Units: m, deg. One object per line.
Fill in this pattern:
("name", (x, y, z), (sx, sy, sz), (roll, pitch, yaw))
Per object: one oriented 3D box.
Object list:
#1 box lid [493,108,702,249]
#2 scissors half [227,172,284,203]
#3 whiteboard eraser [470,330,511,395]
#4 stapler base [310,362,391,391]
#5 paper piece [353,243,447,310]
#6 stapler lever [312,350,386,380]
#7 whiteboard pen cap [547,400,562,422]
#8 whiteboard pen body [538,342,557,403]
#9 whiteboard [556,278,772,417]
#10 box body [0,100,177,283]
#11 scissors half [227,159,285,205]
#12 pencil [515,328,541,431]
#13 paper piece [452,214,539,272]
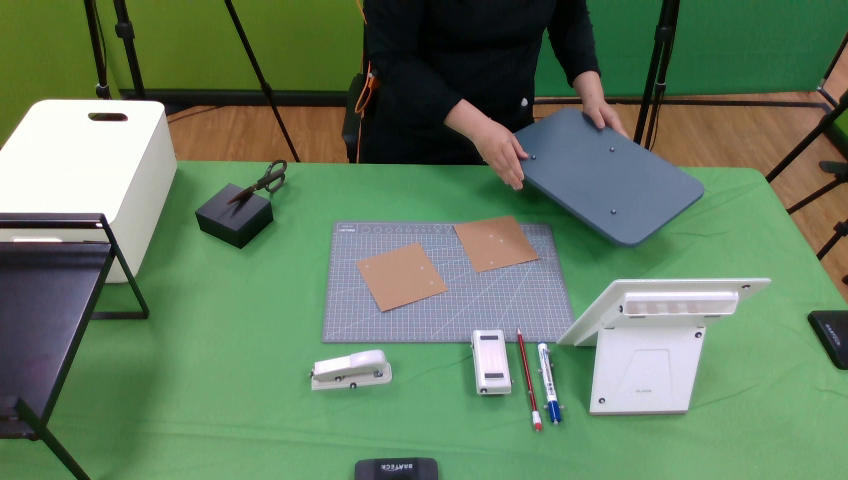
("box lid", (0.349, -0.139, 1.234), (0.263, 0.015, 0.369), (-31, 56, -27))
("scissors half", (-0.340, -0.101, 1.230), (0.013, 0.040, 0.175), (22, 28, 17))
("whiteboard eraser", (0.110, 0.202, 0.998), (0.055, 0.042, 0.112), (1, 46, -5))
("stapler base", (-0.119, 0.215, 0.980), (0.131, 0.024, 0.041), (-5, 44, -7))
("paper piece", (-0.045, 0.066, 1.137), (0.136, 0.009, 0.137), (-14, 47, -22))
("stapler lever", (-0.120, 0.198, 0.963), (0.118, 0.040, 0.026), (-4, 44, -8))
("whiteboard pen cap", (0.205, 0.269, 0.956), (0.018, 0.018, 0.033), (0, 47, -5))
("whiteboard pen body", (0.205, 0.228, 0.997), (0.017, 0.017, 0.140), (1, 46, -3))
("whiteboard", (0.347, 0.174, 0.903), (0.217, 0.306, 0.143), (1, 65, -4))
("box body", (-0.639, -0.095, 1.140), (0.254, 0.161, 0.361), (0, 46, -4))
("scissors half", (-0.336, -0.117, 1.218), (0.013, 0.040, 0.175), (26, 47, 13))
("pencil", (0.169, 0.224, 1.002), (0.012, 0.012, 0.192), (-1, 46, -6))
("paper piece", (0.142, 0.003, 1.213), (0.135, 0.004, 0.135), (-11, 47, -14))
